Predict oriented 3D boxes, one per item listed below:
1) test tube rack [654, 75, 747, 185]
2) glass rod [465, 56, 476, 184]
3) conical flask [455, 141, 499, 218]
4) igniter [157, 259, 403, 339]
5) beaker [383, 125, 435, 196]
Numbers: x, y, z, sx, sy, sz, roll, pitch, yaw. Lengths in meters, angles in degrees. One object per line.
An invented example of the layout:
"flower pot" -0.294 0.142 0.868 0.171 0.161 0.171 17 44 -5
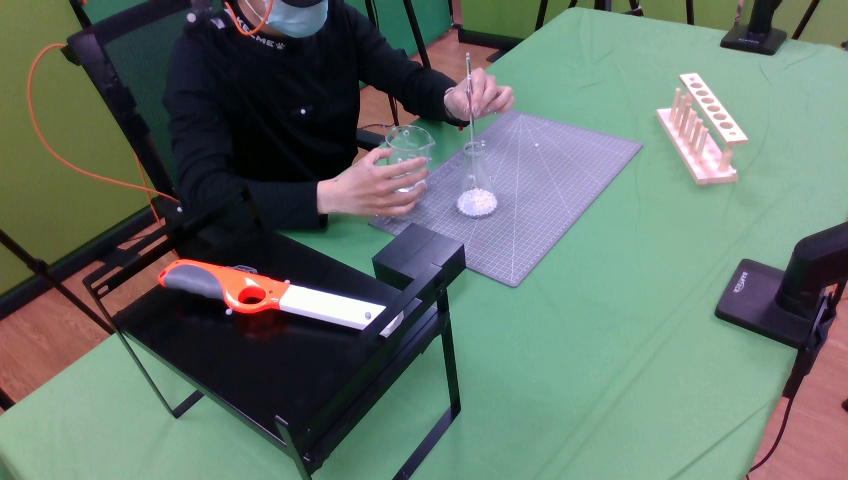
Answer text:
"test tube rack" 0.491 -0.205 1.092 0.067 0.085 0.241 -5 40 3
"glass rod" 0.074 -0.188 0.960 0.008 0.200 0.008 -4 16 2
"conical flask" 0.085 -0.103 0.999 0.075 0.122 0.075 -4 40 4
"igniter" -0.157 0.059 0.638 0.275 0.025 0.057 11 43 14
"beaker" -0.027 -0.131 1.015 0.084 0.100 0.073 4 44 -1
